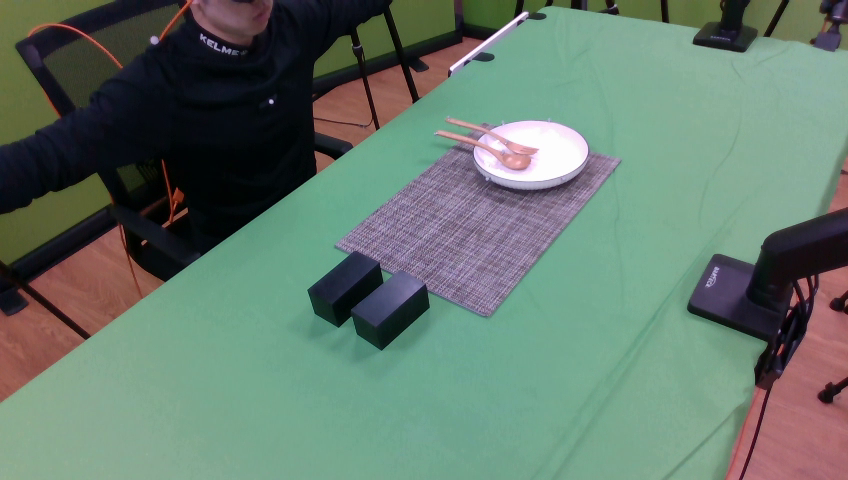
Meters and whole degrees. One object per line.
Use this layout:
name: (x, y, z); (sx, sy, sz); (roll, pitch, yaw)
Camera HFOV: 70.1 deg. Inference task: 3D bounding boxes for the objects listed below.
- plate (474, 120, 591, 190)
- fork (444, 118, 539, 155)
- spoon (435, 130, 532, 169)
plate: (0.196, -0.151, 1.099); (0.207, 0.039, 0.206); (-4, 40, 4)
fork: (0.123, -0.198, 1.143); (0.206, 0.019, 0.028); (27, 55, 24)
spoon: (0.107, -0.171, 1.112); (0.193, 0.022, 0.041); (25, 53, 15)
